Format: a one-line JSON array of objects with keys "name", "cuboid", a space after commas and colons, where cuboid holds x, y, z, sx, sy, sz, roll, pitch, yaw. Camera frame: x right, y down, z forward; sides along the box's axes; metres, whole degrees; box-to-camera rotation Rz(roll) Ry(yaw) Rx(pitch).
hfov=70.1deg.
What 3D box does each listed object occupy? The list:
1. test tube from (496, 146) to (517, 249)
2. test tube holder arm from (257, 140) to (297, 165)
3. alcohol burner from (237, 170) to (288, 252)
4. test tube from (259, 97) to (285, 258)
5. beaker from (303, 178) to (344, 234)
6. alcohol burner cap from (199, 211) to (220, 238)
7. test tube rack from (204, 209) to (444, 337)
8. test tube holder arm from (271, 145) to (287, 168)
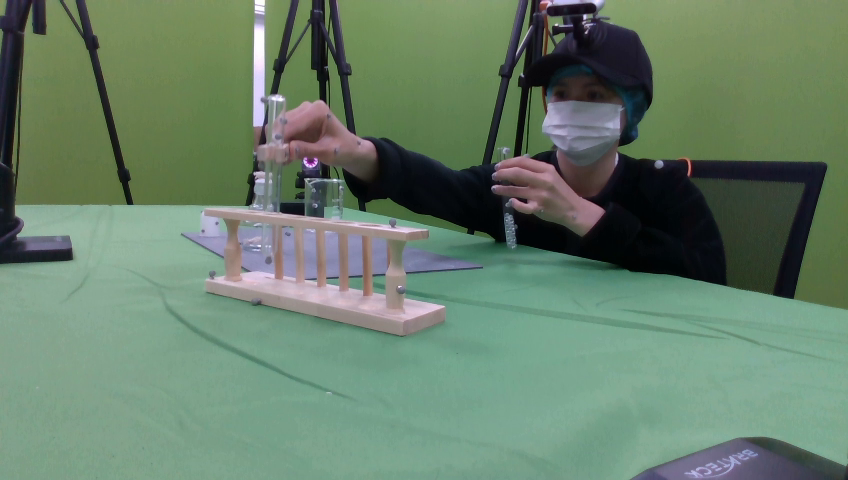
[{"name": "test tube", "cuboid": [0.119, -0.060, 0.873, 0.017, 0.150, 0.017, -7, 9, 1]}, {"name": "test tube holder arm", "cuboid": [-0.152, -0.094, 0.635, 0.013, 0.015, 0.178, 13, 12, -7]}, {"name": "alcohol burner", "cuboid": [-0.236, -0.042, 0.882, 0.078, 0.119, 0.078, 2, 9, 0]}, {"name": "test tube", "cuboid": [-0.143, -0.058, 0.569, 0.017, 0.150, 0.017, 4, 2, 0]}, {"name": "beaker", "cuboid": [-0.189, -0.063, 1.119, 0.073, 0.100, 0.084, 7, 9, 28]}, {"name": "alcohol burner cap", "cuboid": [-0.356, -0.027, 1.002, 0.034, 0.048, 0.034, 2, 7, 0]}, {"name": "test tube rack", "cuboid": [-0.100, 0.021, 0.565, 0.241, 0.085, 0.067, 7, 8, 32]}, {"name": "test tube holder arm", "cuboid": [-0.141, -0.083, 0.593, 0.010, 0.015, 0.087, 11, 12, -13]}]
